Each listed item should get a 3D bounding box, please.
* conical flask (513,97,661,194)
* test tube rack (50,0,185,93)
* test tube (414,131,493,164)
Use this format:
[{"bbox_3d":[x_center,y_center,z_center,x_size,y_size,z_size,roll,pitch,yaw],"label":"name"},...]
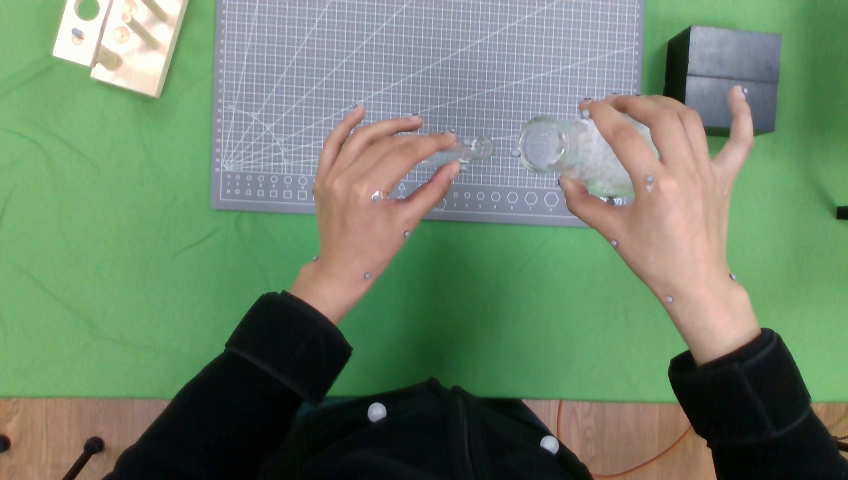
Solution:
[{"bbox_3d":[0.114,-0.070,0.438,0.122,0.075,0.075,-7,93,-47],"label":"conical flask"},{"bbox_3d":[-0.264,-0.273,0.570,0.067,0.085,0.242,17,90,-6],"label":"test tube rack"},{"bbox_3d":[0.019,-0.072,0.481,0.017,0.149,0.017,-2,95,-17],"label":"test tube"}]
